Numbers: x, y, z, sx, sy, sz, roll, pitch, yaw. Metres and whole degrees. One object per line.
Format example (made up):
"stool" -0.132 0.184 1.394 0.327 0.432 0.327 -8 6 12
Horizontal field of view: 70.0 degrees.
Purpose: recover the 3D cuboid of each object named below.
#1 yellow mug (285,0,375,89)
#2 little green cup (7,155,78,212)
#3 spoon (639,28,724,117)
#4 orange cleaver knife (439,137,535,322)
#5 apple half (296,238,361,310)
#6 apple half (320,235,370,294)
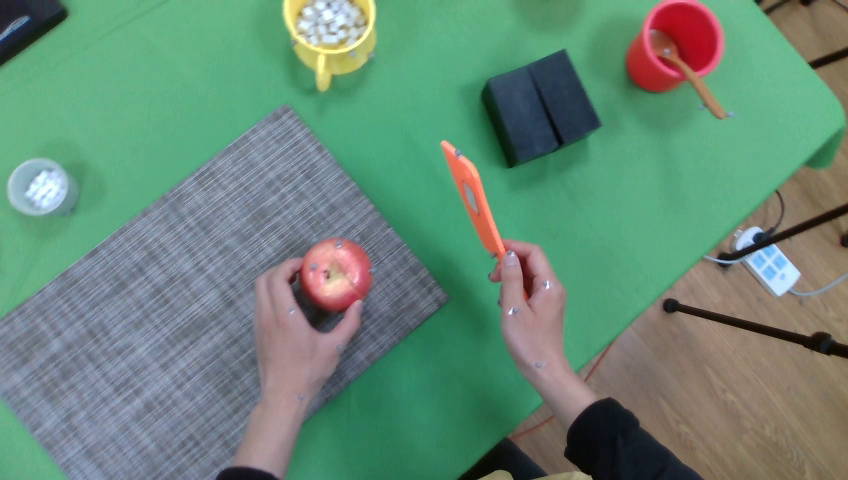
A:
"yellow mug" -0.108 -0.239 0.698 0.100 0.064 0.130 9 86 -5
"little green cup" -0.417 -0.059 0.669 0.061 0.038 0.061 0 85 -5
"spoon" 0.294 -0.196 0.694 0.042 0.022 0.191 -3 41 -5
"orange cleaver knife" 0.064 -0.007 0.615 0.012 0.076 0.213 -30 117 -6
"apple half" -0.111 0.044 0.668 0.053 0.074 0.081 -35 93 -3
"apple half" -0.080 0.021 0.671 0.033 0.081 0.081 -36 89 -4
